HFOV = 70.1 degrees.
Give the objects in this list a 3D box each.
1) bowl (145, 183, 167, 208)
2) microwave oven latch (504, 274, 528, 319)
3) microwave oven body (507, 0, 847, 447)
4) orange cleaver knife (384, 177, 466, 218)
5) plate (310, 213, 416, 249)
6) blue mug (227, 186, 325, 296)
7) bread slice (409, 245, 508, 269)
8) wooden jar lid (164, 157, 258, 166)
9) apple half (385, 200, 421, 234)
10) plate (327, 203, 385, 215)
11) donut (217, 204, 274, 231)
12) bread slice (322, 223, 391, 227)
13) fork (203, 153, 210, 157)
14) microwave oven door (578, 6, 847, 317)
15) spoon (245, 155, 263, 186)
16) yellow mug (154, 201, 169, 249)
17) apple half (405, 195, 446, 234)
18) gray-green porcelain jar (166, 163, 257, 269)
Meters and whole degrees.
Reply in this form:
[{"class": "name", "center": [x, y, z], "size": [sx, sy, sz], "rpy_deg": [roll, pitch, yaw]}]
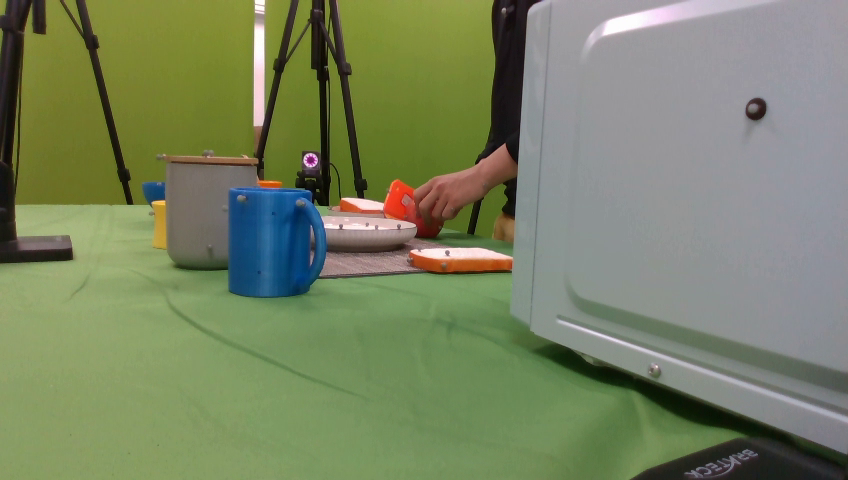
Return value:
[{"class": "bowl", "center": [-0.459, -0.068, 1.175], "size": [0.151, 0.077, 0.151], "rpy_deg": [2, 7, 0]}, {"class": "microwave oven latch", "center": [0.100, 0.041, 0.471], "size": [0.079, 0.029, 0.030], "rpy_deg": [-1, 7, -28]}, {"class": "microwave oven body", "center": [0.331, -0.042, 0.425], "size": [0.444, 0.260, 0.324], "rpy_deg": [-2, 8, -31]}, {"class": "orange cleaver knife", "center": [0.005, -0.069, 1.174], "size": [0.212, 0.077, 0.012], "rpy_deg": [8, -3, -44]}, {"class": "plate", "center": [-0.117, -0.014, 0.967], "size": [0.208, 0.039, 0.207], "rpy_deg": [2, 7, 0]}, {"class": "blue mug", "center": [-0.146, 0.000, 0.618], "size": [0.116, 0.106, 0.083], "rpy_deg": [7, 9, 32]}, {"class": "bread slice", "center": [0.048, 0.021, 0.816], "size": [0.132, 0.019, 0.104], "rpy_deg": [0, 7, -24]}, {"class": "wooden jar lid", "center": [-0.261, -0.093, 0.746], "size": [0.108, 0.020, 0.108], "rpy_deg": [0, 9, 0]}, {"class": "apple half", "center": [-0.045, -0.038, 1.175], "size": [0.082, 0.081, 0.032], "rpy_deg": [-6, -28, -44]}, {"class": "plate", "center": [-0.102, -0.053, 1.299], "size": [0.209, 0.038, 0.209], "rpy_deg": [2, 8, 0]}, {"class": "donut", "center": [-0.318, -0.038, 1.080], "size": [0.099, 0.048, 0.099], "rpy_deg": [3, 7, 0]}, {"class": "bread slice", "center": [-0.116, -0.014, 0.974], "size": [0.135, 0.018, 0.106], "rpy_deg": [-6, 11, -42]}, {"class": "fork", "center": [-0.480, -0.135, 1.411], "size": [0.028, 0.018, 0.207], "rpy_deg": [1, -34, 0]}, {"class": "microwave oven door", "center": [0.294, -0.067, 0.570], "size": [0.358, 0.243, 0.039], "rpy_deg": [-3, 9, -31]}, {"class": "spoon", "center": [-0.421, -0.150, 1.540], "size": [0.042, 0.021, 0.193], "rpy_deg": [-5, 55, -37]}, {"class": "yellow mug", "center": [-0.337, -0.022, 0.899], "size": [0.130, 0.064, 0.100], "rpy_deg": [8, 9, 34]}, {"class": "apple half", "center": [0.010, -0.046, 1.140], "size": [0.081, 0.074, 0.053], "rpy_deg": [-1, 12, -42]}, {"class": "gray-green porcelain jar", "center": [-0.263, -0.031, 0.754], "size": [0.106, 0.126, 0.106], "rpy_deg": [2, 7, 0]}]
